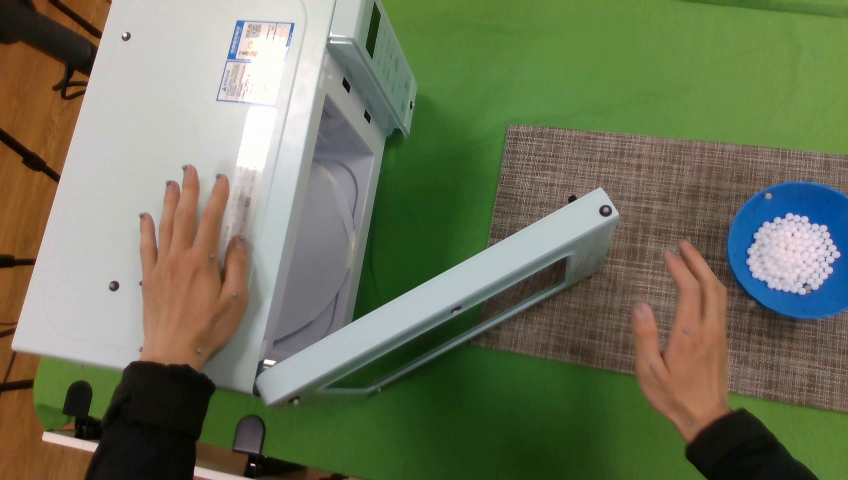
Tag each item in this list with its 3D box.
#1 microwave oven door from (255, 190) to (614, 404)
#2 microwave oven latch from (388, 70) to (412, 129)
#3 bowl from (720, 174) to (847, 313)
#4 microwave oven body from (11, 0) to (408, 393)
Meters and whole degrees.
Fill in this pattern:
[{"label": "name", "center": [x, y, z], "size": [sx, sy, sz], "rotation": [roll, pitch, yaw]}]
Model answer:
[{"label": "microwave oven door", "center": [0.028, 0.077, 0.642], "size": [0.356, 0.245, 0.039], "rotation": [-29, 72, 4]}, {"label": "microwave oven latch", "center": [-0.035, -0.193, 0.823], "size": [0.030, 0.030, 0.079], "rotation": [6, 79, 13]}, {"label": "bowl", "center": [0.405, 0.011, 0.678], "size": [0.151, 0.077, 0.150], "rotation": [-3, 77, 12]}, {"label": "microwave oven body", "center": [-0.226, -0.060, 0.731], "size": [0.325, 0.262, 0.440], "rotation": [7, 79, 13]}]
